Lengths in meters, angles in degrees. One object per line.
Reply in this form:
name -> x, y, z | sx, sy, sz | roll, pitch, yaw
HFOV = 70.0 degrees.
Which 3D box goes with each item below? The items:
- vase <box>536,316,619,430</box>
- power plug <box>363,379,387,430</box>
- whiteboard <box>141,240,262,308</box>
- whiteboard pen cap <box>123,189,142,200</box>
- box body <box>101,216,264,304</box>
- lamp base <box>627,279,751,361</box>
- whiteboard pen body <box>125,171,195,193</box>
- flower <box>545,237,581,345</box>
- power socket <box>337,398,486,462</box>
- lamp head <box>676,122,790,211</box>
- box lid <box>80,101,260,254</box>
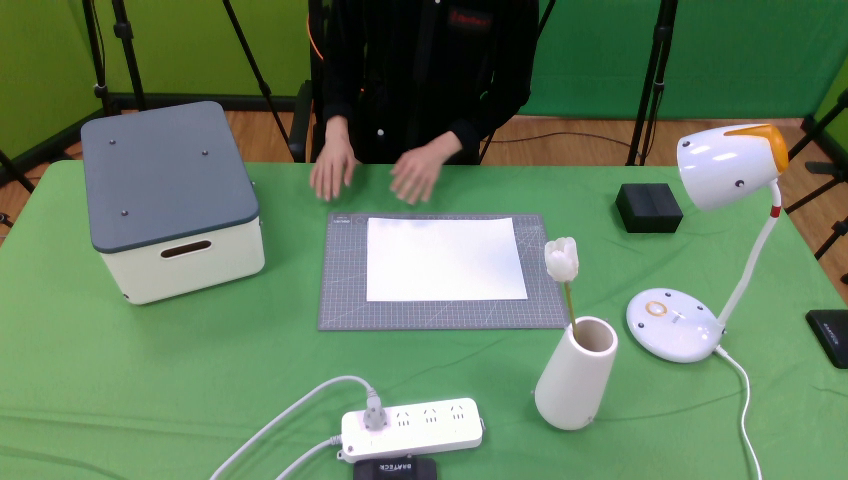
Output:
vase -> 0.229, 0.200, 0.901 | 0.098, 0.201, 0.097 | 3, 46, -3
power plug -> -0.071, 0.252, 0.911 | 0.035, 0.053, 0.072 | 3, 40, 0
whiteboard -> -0.464, -0.059, 1.137 | 0.217, 0.144, 0.303 | -19, 51, -17
whiteboard pen cap -> -0.591, -0.092, 1.231 | 0.033, 0.018, 0.018 | -14, 49, -17
box body -> -0.465, -0.077, 1.137 | 0.254, 0.161, 0.361 | -16, 50, -19
lamp base -> 0.460, 0.100, 1.027 | 0.178, 0.181, 0.160 | 27, 51, 17
whiteboard pen body -> -0.553, -0.119, 1.270 | 0.141, 0.017, 0.017 | -18, 50, -15
flower -> 0.213, 0.137, 0.846 | 0.038, 0.364, 0.044 | 21, 55, 40
power socket -> -0.018, 0.285, 0.914 | 0.227, 0.033, 0.071 | -4, 46, -8
lamp head -> 0.423, -0.104, 0.819 | 0.122, 0.113, 0.112 | -13, 33, 40
box lid -> -0.461, -0.127, 1.082 | 0.264, 0.015, 0.369 | -15, 49, -19
